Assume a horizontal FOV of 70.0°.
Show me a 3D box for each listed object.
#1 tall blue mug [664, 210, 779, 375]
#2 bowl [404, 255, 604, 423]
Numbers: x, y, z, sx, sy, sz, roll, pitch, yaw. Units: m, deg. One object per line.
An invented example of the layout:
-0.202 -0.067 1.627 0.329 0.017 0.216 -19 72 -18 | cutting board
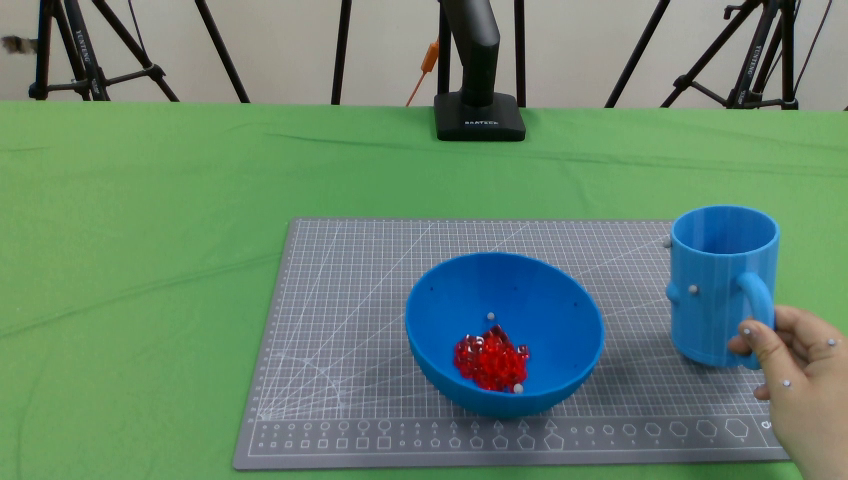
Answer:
0.246 0.046 0.478 0.078 0.109 0.106 -24 31 -19 | tall blue mug
0.058 0.089 0.478 0.151 0.077 0.150 2 39 -1 | bowl
